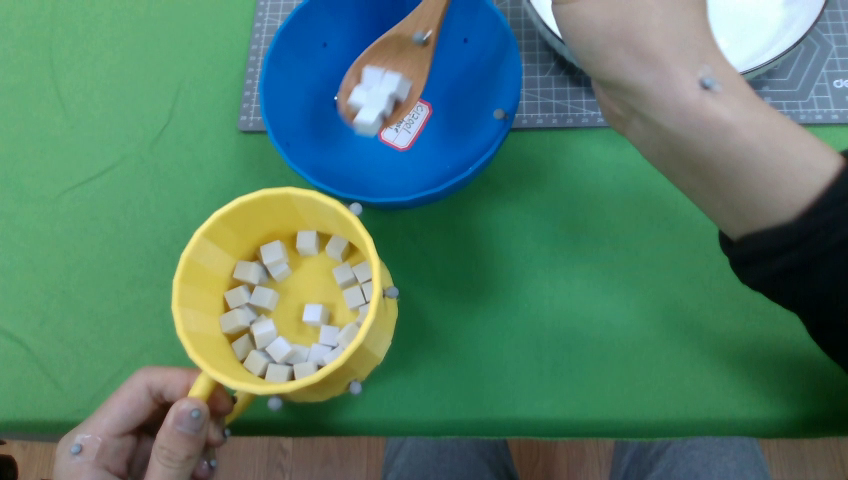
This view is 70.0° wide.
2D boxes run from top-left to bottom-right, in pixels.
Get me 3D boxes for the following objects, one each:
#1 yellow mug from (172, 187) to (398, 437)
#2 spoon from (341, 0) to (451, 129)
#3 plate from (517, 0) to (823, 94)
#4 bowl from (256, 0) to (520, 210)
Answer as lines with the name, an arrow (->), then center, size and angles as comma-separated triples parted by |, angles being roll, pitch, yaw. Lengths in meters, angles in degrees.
yellow mug -> -0.075, 0.043, 0.309 | 0.099, 0.064, 0.130 | 31, 78, 13
spoon -> 0.021, -0.131, 0.284 | 0.041, 0.022, 0.194 | 46, 117, 13
plate -> 0.163, -0.187, 0.421 | 0.209, 0.038, 0.207 | -1, 70, 4
bowl -> -0.018, -0.081, 0.377 | 0.151, 0.077, 0.150 | -1, 74, 5
